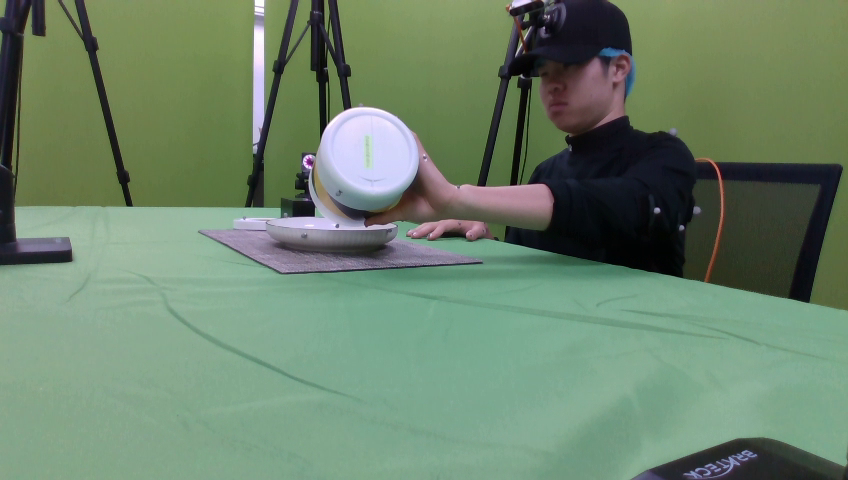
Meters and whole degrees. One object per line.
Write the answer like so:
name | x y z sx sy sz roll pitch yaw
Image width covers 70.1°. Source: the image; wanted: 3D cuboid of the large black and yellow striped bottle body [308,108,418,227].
large black and yellow striped bottle body | -0.094 -0.093 0.860 0.131 0.130 0.183 0 -14 -18

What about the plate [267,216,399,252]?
plate | -0.145 -0.010 0.967 0.208 0.039 0.207 2 7 0

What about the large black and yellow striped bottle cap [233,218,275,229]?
large black and yellow striped bottle cap | -0.311 -0.032 1.172 0.115 0.019 0.115 1 4 0
